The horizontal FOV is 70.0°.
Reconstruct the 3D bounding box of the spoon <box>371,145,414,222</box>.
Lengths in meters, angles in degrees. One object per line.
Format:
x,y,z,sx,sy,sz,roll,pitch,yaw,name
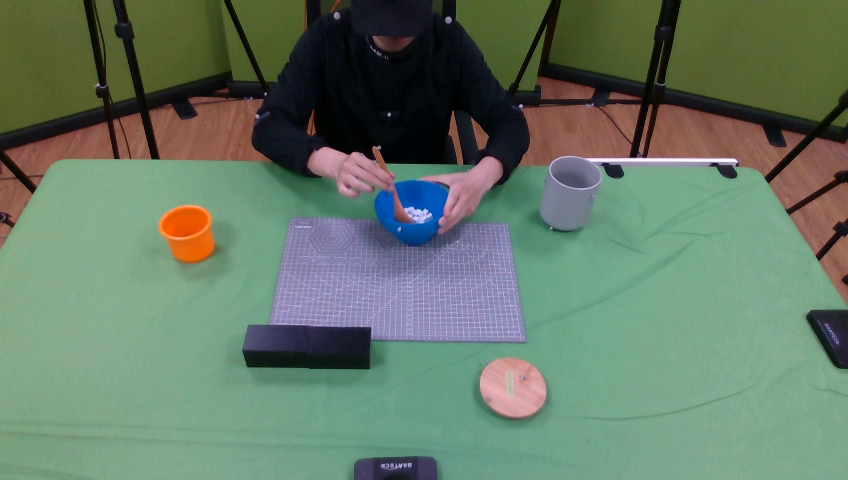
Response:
-0.060,-0.094,1.121,0.041,0.195,0.021,5,40,36,spoon

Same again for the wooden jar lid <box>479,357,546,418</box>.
0.142,0.240,0.979,0.108,0.021,0.107,1,46,-1,wooden jar lid

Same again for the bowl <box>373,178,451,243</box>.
-0.022,-0.047,1.180,0.151,0.077,0.150,-1,39,1,bowl

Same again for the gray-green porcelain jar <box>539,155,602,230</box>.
0.294,-0.091,1.235,0.106,0.127,0.105,2,46,-2,gray-green porcelain jar
